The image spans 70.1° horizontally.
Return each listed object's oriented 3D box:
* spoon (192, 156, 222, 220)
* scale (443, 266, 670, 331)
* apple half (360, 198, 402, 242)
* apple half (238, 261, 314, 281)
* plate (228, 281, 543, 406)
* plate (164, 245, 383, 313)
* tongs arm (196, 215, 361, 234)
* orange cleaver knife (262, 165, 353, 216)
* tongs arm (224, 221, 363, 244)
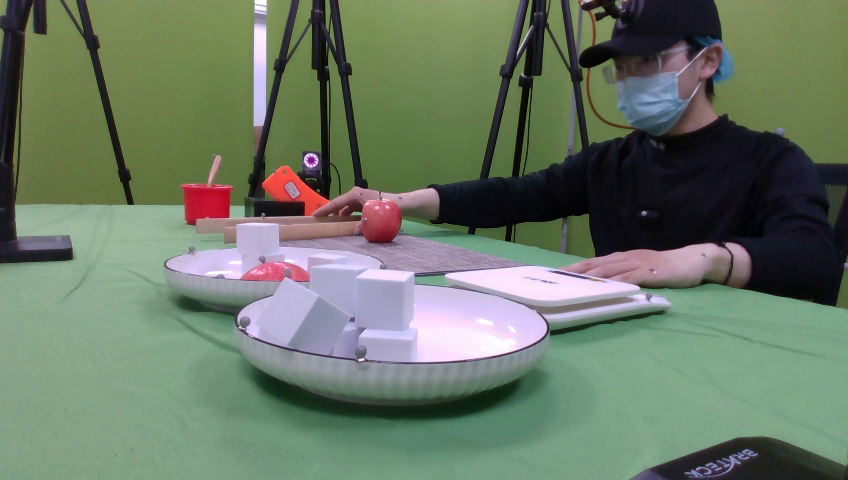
[{"bbox_3d":[-0.430,-0.108,1.222,0.041,0.021,0.193,-1,52,0],"label":"spoon"},{"bbox_3d":[0.131,0.052,0.603,0.202,0.031,0.148,-2,9,-37],"label":"scale"},{"bbox_3d":[-0.066,-0.032,1.014,0.053,0.074,0.081,9,6,21],"label":"apple half"},{"bbox_3d":[-0.141,0.036,0.578,0.081,0.033,0.081,2,11,0],"label":"apple half"},{"bbox_3d":[-0.025,0.067,0.413,0.208,0.039,0.207,3,7,0],"label":"plate"},{"bbox_3d":[-0.145,0.038,0.600,0.209,0.038,0.209,2,8,0],"label":"plate"},{"bbox_3d":[-0.212,-0.029,1.087,0.050,0.026,0.387,13,12,43],"label":"tongs arm"},{"bbox_3d":[-0.243,-0.081,1.292,0.212,0.077,0.012,34,-8,-26],"label":"orange cleaver knife"},{"bbox_3d":[-0.175,-0.019,1.053,0.028,0.028,0.390,7,8,39],"label":"tongs arm"}]
